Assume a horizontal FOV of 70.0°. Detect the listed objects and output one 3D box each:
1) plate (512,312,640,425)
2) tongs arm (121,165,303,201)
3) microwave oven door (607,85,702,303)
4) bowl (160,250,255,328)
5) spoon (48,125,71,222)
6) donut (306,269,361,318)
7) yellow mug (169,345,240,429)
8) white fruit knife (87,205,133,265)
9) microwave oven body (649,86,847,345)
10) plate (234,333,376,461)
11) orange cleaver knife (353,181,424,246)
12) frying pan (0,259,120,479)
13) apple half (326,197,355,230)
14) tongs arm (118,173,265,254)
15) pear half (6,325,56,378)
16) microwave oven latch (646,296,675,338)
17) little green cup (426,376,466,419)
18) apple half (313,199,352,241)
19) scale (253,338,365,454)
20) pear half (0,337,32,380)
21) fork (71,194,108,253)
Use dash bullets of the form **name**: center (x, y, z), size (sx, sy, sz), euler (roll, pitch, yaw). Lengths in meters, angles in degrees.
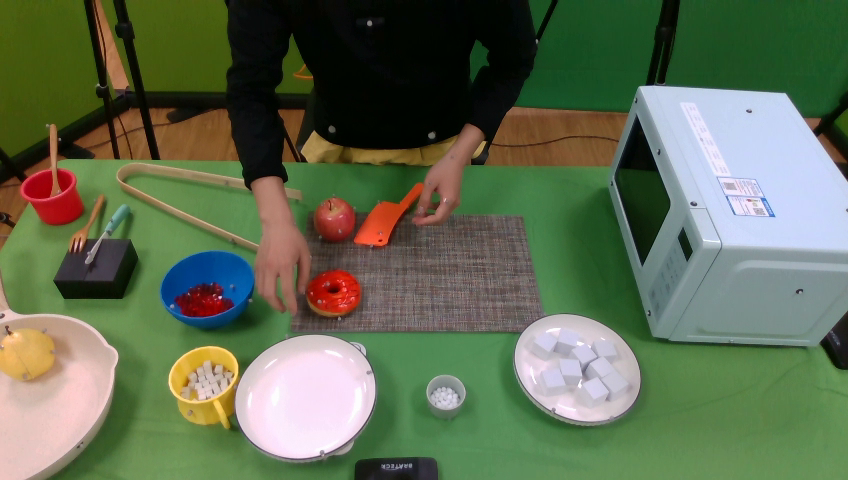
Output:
- **plate**: center (0.246, 0.213, 0.999), size (0.208, 0.039, 0.206), euler (2, 46, -2)
- **tongs arm**: center (-0.444, -0.113, 1.267), size (0.384, 0.026, 0.050), euler (11, 51, 8)
- **microwave oven door**: center (0.423, -0.094, 1.140), size (0.039, 0.245, 0.353), euler (2, 46, -1)
- **bowl**: center (-0.362, 0.098, 1.039), size (0.151, 0.077, 0.150), euler (2, 45, -2)
- **spoon**: center (-0.718, -0.131, 1.188), size (0.041, 0.021, 0.193), euler (-3, 90, -7)
- **donut**: center (-0.160, 0.094, 1.075), size (0.099, 0.048, 0.098), euler (3, 45, -3)
- **yellow mug**: center (-0.322, 0.231, 0.922), size (0.100, 0.064, 0.130), euler (-24, 53, -25)
- **white fruit knife**: center (-0.584, -0.013, 1.129), size (0.016, 0.027, 0.206), euler (0, 31, -5)
- **microwave oven body**: center (0.568, -0.053, 1.118), size (0.326, 0.261, 0.439), euler (2, 45, -1)
- **plate**: center (-0.175, 0.235, 0.907), size (0.209, 0.038, 0.208), euler (2, 46, -2)
- **orange cleaver knife**: center (-0.070, -0.059, 1.245), size (0.077, 0.012, 0.210), euler (18, 49, 21)
- **frying pan**: center (-0.647, 0.164, 0.936), size (0.307, 0.103, 0.485), euler (-19, 58, -22)
- **apple half**: center (-0.159, -0.054, 1.196), size (0.081, 0.082, 0.033), euler (34, 57, 26)
- **tongs arm**: center (-0.473, -0.053, 1.212), size (0.386, 0.028, 0.028), euler (23, 57, 18)
- **pear half**: center (-0.608, 0.158, 0.935), size (0.076, 0.110, 0.056), euler (31, 51, 20)
- **microwave oven latch**: center (0.412, 0.134, 1.061), size (0.030, 0.029, 0.078), euler (4, 45, 1)
- **little green cup**: center (0.033, 0.248, 0.950), size (0.061, 0.039, 0.061), euler (2, 46, -2)
- **apple half**: center (-0.184, -0.033, 1.176), size (0.080, 0.075, 0.053), euler (35, 57, 22)
- **scale**: center (-0.175, 0.236, 0.951), size (0.149, 0.032, 0.199), euler (4, 46, 0)
- **pear half**: center (-0.631, 0.184, 0.921), size (0.070, 0.088, 0.031), euler (29, 49, 19)
- **fork**: center (-0.634, -0.036, 1.158), size (0.028, 0.019, 0.206), euler (-8, 31, -8)
